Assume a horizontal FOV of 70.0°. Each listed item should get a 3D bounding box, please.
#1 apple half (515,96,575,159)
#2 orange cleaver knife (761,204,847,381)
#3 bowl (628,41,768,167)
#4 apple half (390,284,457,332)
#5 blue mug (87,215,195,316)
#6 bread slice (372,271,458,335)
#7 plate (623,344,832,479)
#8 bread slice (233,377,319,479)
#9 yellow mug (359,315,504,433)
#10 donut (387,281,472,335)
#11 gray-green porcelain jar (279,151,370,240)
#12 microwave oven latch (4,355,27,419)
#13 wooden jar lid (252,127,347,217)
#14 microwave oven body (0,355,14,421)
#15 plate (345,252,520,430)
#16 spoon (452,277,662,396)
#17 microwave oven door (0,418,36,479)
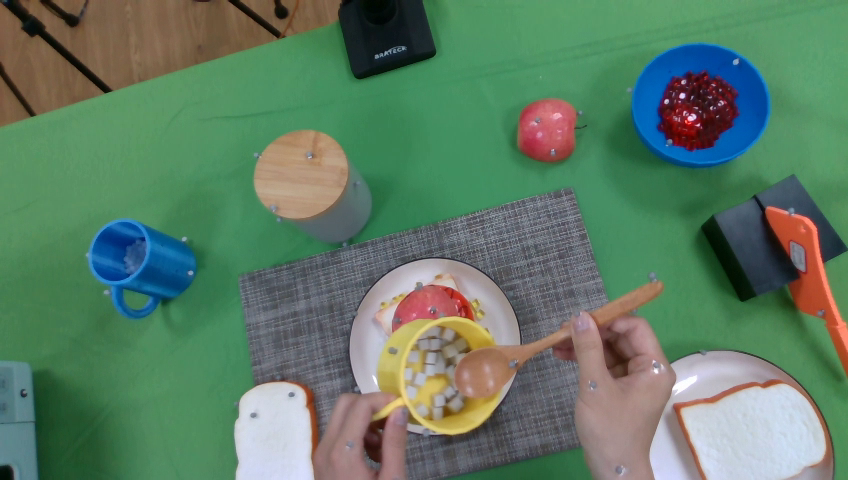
[{"bbox_3d":[0.152,-0.147,0.760,0.074,0.054,0.080,7,78,13],"label":"apple half"},{"bbox_3d":[0.420,0.058,0.656,0.012,0.077,0.211,-25,96,-5],"label":"orange cleaver knife"},{"bbox_3d":[0.315,-0.149,0.722,0.151,0.077,0.150,-2,77,9],"label":"bowl"},{"bbox_3d":[-0.001,0.088,0.667,0.081,0.033,0.081,-4,76,15],"label":"apple half"},{"bbox_3d":[-0.359,0.038,0.768,0.082,0.106,0.116,5,78,10],"label":"blue mug"},{"bbox_3d":[0.015,0.116,0.725,0.107,0.018,0.133,-31,74,1],"label":"bread slice"},{"bbox_3d":[0.321,0.219,0.657,0.209,0.038,0.208,-2,77,9],"label":"plate"},{"bbox_3d":[-0.184,0.235,0.739,0.105,0.019,0.131,-7,78,6],"label":"bread slice"},{"bbox_3d":[0.001,0.125,0.541,0.131,0.064,0.100,-26,92,-23],"label":"yellow mug"},{"bbox_3d":[0.007,0.096,0.701,0.099,0.048,0.098,-2,78,9],"label":"donut"},{"bbox_3d":[-0.128,-0.060,0.745,0.106,0.127,0.105,-2,76,8],"label":"gray-green porcelain jar"},{"bbox_3d":[-0.529,0.188,0.775,0.030,0.029,0.078,-11,76,6],"label":"microwave oven latch"},{"bbox_3d":[-0.139,-0.075,0.684,0.108,0.021,0.108,-2,74,7],"label":"wooden jar lid"},{"bbox_3d":[-0.648,0.368,0.651,0.326,0.261,0.439,-15,76,5],"label":"microwave oven body"},{"bbox_3d":[0.010,0.119,0.724,0.207,0.039,0.206,-2,77,8],"label":"plate"},{"bbox_3d":[0.103,0.080,0.492,0.193,0.022,0.041,-32,82,28],"label":"spoon"},{"bbox_3d":[-0.498,0.370,0.622,0.039,0.245,0.353,-15,75,6],"label":"microwave oven door"}]
